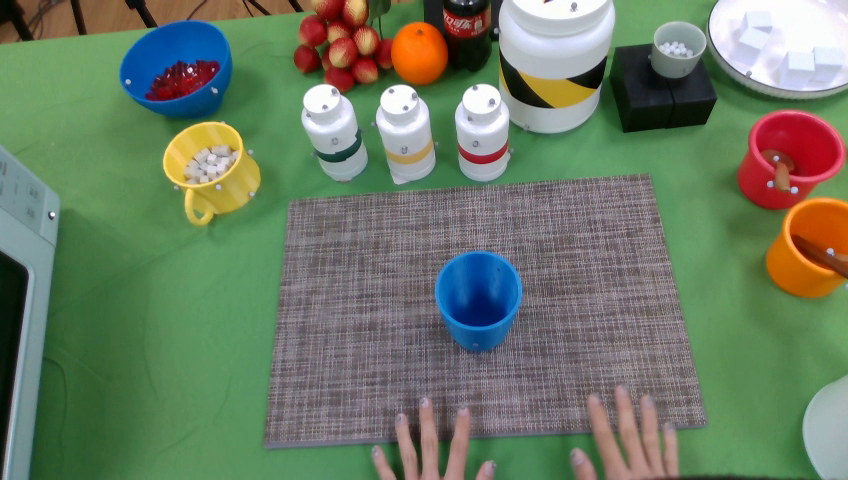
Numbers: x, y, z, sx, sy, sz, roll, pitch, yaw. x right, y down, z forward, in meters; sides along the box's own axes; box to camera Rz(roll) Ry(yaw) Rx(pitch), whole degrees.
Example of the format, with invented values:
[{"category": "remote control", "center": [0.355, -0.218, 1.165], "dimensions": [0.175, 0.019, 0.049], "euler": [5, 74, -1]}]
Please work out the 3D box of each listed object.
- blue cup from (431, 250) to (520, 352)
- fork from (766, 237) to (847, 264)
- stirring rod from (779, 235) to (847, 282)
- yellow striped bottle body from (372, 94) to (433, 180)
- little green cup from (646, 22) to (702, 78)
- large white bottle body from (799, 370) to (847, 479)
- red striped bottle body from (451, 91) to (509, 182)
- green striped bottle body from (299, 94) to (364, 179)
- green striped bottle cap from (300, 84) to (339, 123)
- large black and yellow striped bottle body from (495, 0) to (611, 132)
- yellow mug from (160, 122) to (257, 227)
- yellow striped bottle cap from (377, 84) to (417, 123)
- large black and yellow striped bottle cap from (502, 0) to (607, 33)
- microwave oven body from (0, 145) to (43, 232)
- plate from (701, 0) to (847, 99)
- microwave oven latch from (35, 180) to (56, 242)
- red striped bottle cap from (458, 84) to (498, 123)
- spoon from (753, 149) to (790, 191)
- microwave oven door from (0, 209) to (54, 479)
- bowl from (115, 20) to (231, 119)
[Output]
[{"category": "blue cup", "center": [0.053, 0.071, 0.625], "dimensions": [0.092, 0.101, 0.092], "euler": [-2, 61, 4]}, {"category": "fork", "center": [0.430, 0.022, 0.586], "dimensions": [0.028, 0.019, 0.206], "euler": [-39, 21, -14]}, {"category": "stirring rod", "center": [0.400, 0.024, 0.597], "dimensions": [0.014, 0.006, 0.175], "euler": [-2, 19, 3]}, {"category": "yellow striped bottle body", "center": [-0.026, -0.131, 0.733], "dimensions": [0.063, 0.121, 0.062], "euler": [-3, 61, 6]}, {"category": "little green cup", "center": [0.302, -0.230, 0.739], "dimensions": [0.061, 0.039, 0.061], "euler": [-2, 61, 4]}, {"category": "large white bottle body", "center": [0.415, 0.152, 0.498], "dimensions": [0.130, 0.186, 0.129], "euler": [-3, 62, 5]}, {"category": "red striped bottle body", "center": [0.067, -0.127, 0.722], "dimensions": [0.063, 0.121, 0.062], "euler": [-5, 60, 8]}, {"category": "green striped bottle body", "center": [-0.114, -0.133, 0.744], "dimensions": [0.063, 0.120, 0.062], "euler": [-2, 62, 5]}, {"category": "green striped bottle cap", "center": [-0.121, -0.158, 0.699], "dimensions": [0.044, 0.020, 0.044], "euler": [-2, 61, 4]}, {"category": "large black and yellow striped bottle body", "center": [0.152, -0.234, 0.733], "dimensions": [0.130, 0.185, 0.129], "euler": [-3, 62, 5]}, {"category": "yellow mug", "center": [-0.274, -0.077, 0.762], "dimensions": [0.100, 0.064, 0.130], "euler": [5, 63, 8]}, {"category": "yellow striped bottle cap", "center": [-0.031, -0.155, 0.688], "dimensions": [0.044, 0.019, 0.044], "euler": [-2, 63, 4]}, {"category": "large black and yellow striped bottle cap", "center": [0.142, -0.273, 0.658], "dimensions": [0.115, 0.019, 0.114], "euler": [-3, 61, 6]}, {"category": "microwave oven body", "center": [-0.603, 0.104, 0.588], "dimensions": [0.326, 0.262, 0.437], "euler": [-12, 62, -1]}, {"category": "plate", "center": [0.470, -0.263, 0.796], "dimensions": [0.209, 0.038, 0.207], "euler": [-2, 63, 5]}, {"category": "microwave oven latch", "center": [-0.483, -0.034, 0.757], "dimensions": [0.030, 0.030, 0.078], "euler": [-11, 62, 0]}, {"category": "red striped bottle cap", "center": [0.060, -0.153, 0.676], "dimensions": [0.044, 0.018, 0.044], "euler": [0, 60, 1]}, {"category": "spoon", "center": [0.375, -0.077, 0.648], "dimensions": [0.041, 0.194, 0.022], "euler": [27, 113, 19]}, {"category": "microwave oven door", "center": [-0.453, 0.107, 0.565], "dimensions": [0.039, 0.246, 0.352], "euler": [-13, 61, 0]}, {"category": "bowl", "center": [-0.332, -0.221, 0.838], "dimensions": [0.151, 0.077, 0.150], "euler": [-2, 62, 4]}]
